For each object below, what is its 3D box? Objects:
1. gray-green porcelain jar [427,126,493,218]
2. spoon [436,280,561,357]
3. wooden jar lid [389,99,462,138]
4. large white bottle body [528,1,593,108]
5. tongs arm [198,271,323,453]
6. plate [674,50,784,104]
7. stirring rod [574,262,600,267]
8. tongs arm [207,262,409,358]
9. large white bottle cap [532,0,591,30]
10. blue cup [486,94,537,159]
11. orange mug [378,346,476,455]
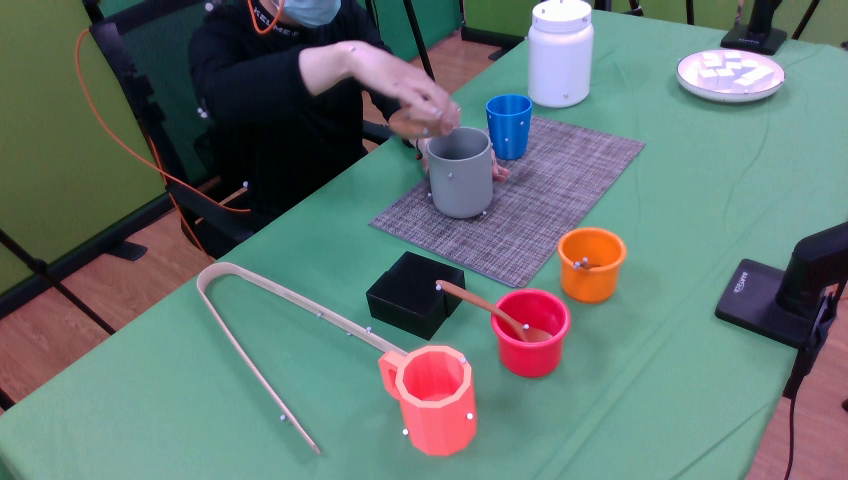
[{"bbox_3d":[0.063,-0.109,1.008,0.106,0.127,0.105,-4,40,4],"label":"gray-green porcelain jar"},{"bbox_3d":[0.096,0.095,0.758,0.195,0.021,0.041,34,41,-20],"label":"spoon"},{"bbox_3d":[0.003,-0.179,0.895,0.108,0.021,0.108,-7,34,5],"label":"wooden jar lid"},{"bbox_3d":[0.283,-0.386,1.259,0.130,0.185,0.130,-5,41,5],"label":"large white bottle body"},{"bbox_3d":[-0.236,0.153,0.830,0.028,0.028,0.384,-36,48,-18],"label":"tongs arm"},{"bbox_3d":[0.631,-0.336,1.262,0.207,0.039,0.206,-4,41,4],"label":"plate"},{"bbox_3d":[0.222,0.033,0.816,0.014,0.006,0.177,7,0,22],"label":"stirring rod"},{"bbox_3d":[-0.179,0.106,0.870,0.381,0.026,0.051,23,54,32],"label":"tongs arm"},{"bbox_3d":[0.274,-0.449,1.204,0.115,0.018,0.114,-4,41,4],"label":"large white bottle cap"},{"bbox_3d":[0.160,-0.208,1.129,0.092,0.100,0.092,-4,39,4],"label":"blue cup"},{"bbox_3d":[0.002,0.179,0.708,0.125,0.101,0.083,25,50,27],"label":"orange mug"}]
